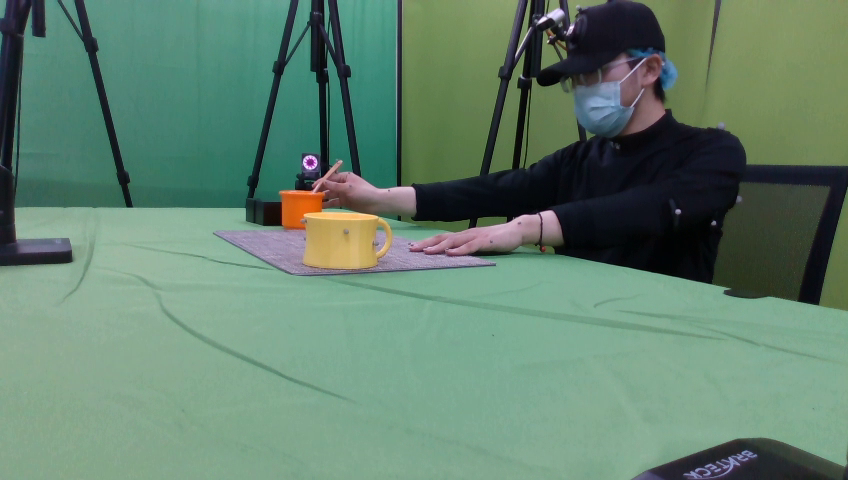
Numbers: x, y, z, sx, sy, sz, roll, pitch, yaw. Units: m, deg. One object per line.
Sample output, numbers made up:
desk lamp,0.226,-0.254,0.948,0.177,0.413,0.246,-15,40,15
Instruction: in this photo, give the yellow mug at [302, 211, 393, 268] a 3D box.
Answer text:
yellow mug,-0.098,-0.003,0.810,0.131,0.064,0.099,-2,8,-37

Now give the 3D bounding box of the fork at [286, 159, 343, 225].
fork,-0.223,-0.101,1.253,0.028,0.019,0.207,7,52,30
